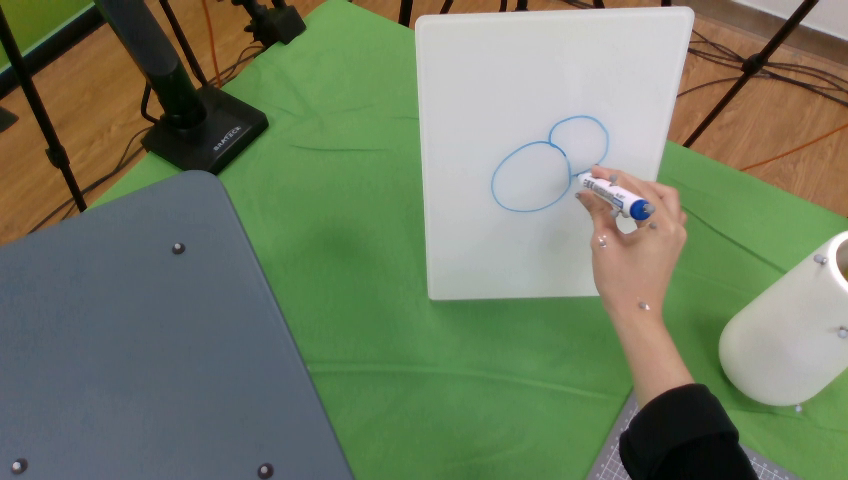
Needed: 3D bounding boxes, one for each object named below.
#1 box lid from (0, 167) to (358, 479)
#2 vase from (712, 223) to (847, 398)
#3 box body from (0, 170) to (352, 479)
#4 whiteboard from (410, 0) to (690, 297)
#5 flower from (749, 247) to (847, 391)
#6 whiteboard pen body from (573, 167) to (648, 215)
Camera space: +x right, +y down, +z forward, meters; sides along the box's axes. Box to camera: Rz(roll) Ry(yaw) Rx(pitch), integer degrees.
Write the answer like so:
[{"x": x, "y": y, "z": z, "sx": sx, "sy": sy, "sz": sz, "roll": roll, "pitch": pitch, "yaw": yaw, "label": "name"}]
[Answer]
[{"x": -0.226, "y": 0.114, "z": 0.447, "sx": 0.263, "sy": 0.015, "sz": 0.368, "roll": -25, "pitch": 62, "yaw": -14, "label": "box lid"}, {"x": 0.330, "y": 0.065, "z": 0.527, "sx": 0.098, "sy": 0.202, "sz": 0.097, "roll": -1, "pitch": 57, "yaw": 2, "label": "vase"}, {"x": -0.223, "y": 0.154, "z": 0.510, "sx": 0.254, "sy": 0.162, "sz": 0.360, "roll": -26, "pitch": 62, "yaw": -13, "label": "box body"}, {"x": 0.103, "y": -0.103, "z": 0.608, "sx": 0.217, "sy": 0.308, "sz": 0.142, "roll": -1, "pitch": 40, "yaw": 2, "label": "whiteboard"}, {"x": 0.329, "y": 0.009, "z": 0.464, "sx": 0.044, "sy": 0.365, "sz": 0.038, "roll": 23, "pitch": 45, "yaw": 18, "label": "flower"}, {"x": 0.144, "y": -0.044, "z": 0.488, "sx": 0.017, "sy": 0.017, "sz": 0.140, "roll": -8, "pitch": 17, "yaw": -3, "label": "whiteboard pen body"}]
